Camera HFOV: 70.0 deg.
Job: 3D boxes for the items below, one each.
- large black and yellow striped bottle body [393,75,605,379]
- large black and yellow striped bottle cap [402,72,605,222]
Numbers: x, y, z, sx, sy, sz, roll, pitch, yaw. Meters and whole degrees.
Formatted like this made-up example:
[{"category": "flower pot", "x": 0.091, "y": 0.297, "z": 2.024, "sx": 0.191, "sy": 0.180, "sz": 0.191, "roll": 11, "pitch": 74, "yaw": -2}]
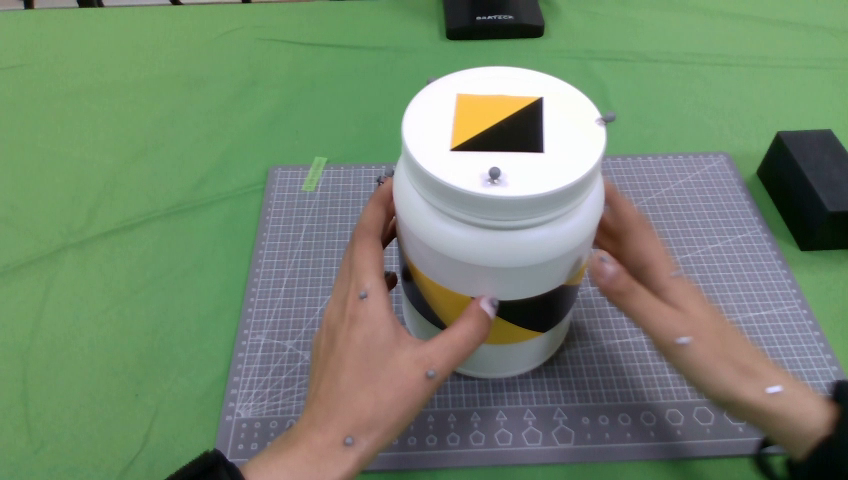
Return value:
[{"category": "large black and yellow striped bottle body", "x": 0.046, "y": -0.003, "z": 0.409, "sx": 0.131, "sy": 0.185, "sz": 0.129, "roll": 0, "pitch": 50, "yaw": 1}, {"category": "large black and yellow striped bottle cap", "x": 0.044, "y": -0.057, "z": 0.344, "sx": 0.115, "sy": 0.019, "sz": 0.114, "roll": 0, "pitch": 48, "yaw": 1}]
